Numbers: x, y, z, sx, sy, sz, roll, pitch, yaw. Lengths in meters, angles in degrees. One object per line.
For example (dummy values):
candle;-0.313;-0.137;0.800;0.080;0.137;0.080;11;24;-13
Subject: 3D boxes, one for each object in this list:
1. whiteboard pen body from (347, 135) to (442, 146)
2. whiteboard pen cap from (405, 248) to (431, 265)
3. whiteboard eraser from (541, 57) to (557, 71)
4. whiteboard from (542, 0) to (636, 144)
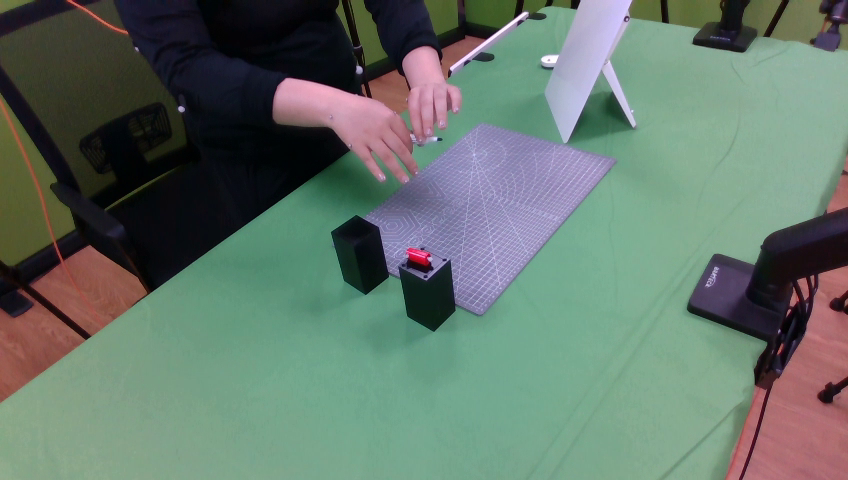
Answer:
whiteboard pen body;-0.043;-0.148;0.898;0.141;0.017;0.016;-2;39;-10
whiteboard pen cap;-0.008;0.021;0.794;0.032;0.017;0.017;17;46;28
whiteboard eraser;0.323;-0.412;1.407;0.101;0.019;0.041;1;42;11
whiteboard;0.366;-0.351;1.160;0.144;0.305;0.216;10;39;-10
